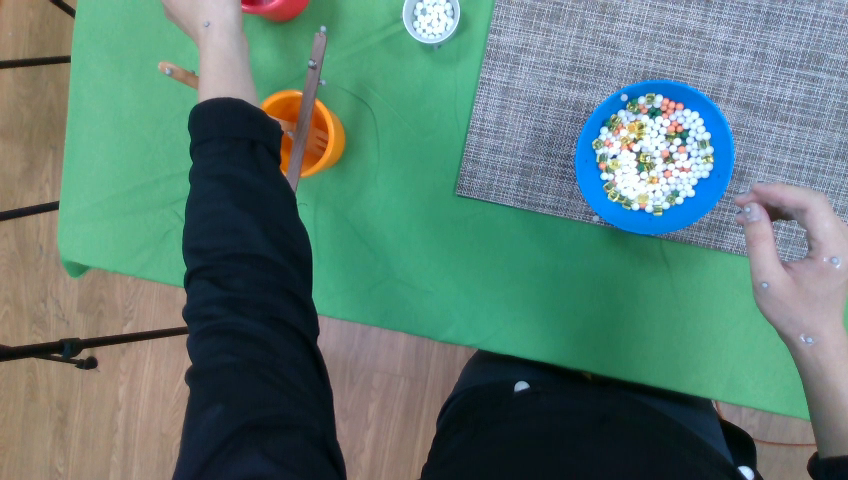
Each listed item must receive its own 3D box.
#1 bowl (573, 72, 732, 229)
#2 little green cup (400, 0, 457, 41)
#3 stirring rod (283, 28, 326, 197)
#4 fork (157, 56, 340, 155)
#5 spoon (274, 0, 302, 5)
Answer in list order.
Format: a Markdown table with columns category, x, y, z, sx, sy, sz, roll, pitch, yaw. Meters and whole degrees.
| category | x | y | z | sx | sy | sz | roll | pitch | yaw |
| --- | --- | --- | --- | --- | --- | --- | --- | --- | --- |
| bowl | 0.227 | -0.090 | 0.628 | 0.151 | 0.077 | 0.151 | 1 | 98 | 7 |
| little green cup | 0.008 | -0.247 | 0.657 | 0.061 | 0.038 | 0.061 | 1 | 98 | 8 |
| stirring rod | -0.125 | -0.131 | 0.631 | 0.014 | 0.006 | 0.176 | 14 | 99 | 7 |
| fork | -0.177 | -0.140 | 0.640 | 0.209 | 0.018 | 0.028 | 22 | 106 | -40 |
| spoon | -0.208 | -0.305 | 0.624 | 0.195 | 0.021 | 0.041 | 22 | 100 | -40 |
